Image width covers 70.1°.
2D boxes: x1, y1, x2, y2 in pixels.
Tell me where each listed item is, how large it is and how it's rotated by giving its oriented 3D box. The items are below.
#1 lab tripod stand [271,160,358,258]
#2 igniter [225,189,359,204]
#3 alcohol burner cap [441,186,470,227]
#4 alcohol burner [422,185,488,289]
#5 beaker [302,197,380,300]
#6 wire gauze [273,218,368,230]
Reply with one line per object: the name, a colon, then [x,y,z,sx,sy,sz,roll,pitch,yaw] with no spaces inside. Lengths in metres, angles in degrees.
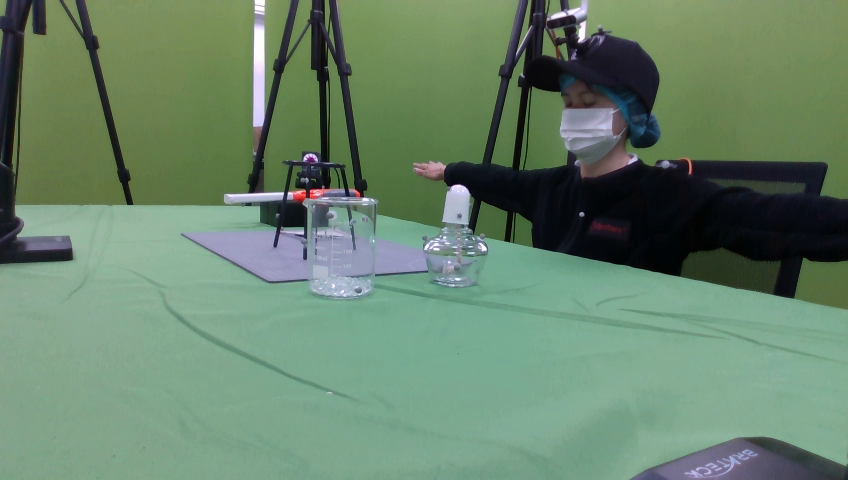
lab tripod stand: [-0.159,-0.048,0.876,0.148,0.131,0.148,3,5,0]
igniter: [-0.264,-0.089,1.239,0.278,0.025,0.057,-5,12,-32]
alcohol burner cap: [0.038,-0.039,0.700,0.034,0.048,0.034,6,4,0]
alcohol burner: [0.036,-0.004,0.705,0.078,0.119,0.078,0,7,0]
beaker: [-0.089,0.007,0.625,0.084,0.100,0.074,4,7,16]
wire gauze: [-0.186,-0.028,1.088,0.124,0.011,0.122,0,7,36]
